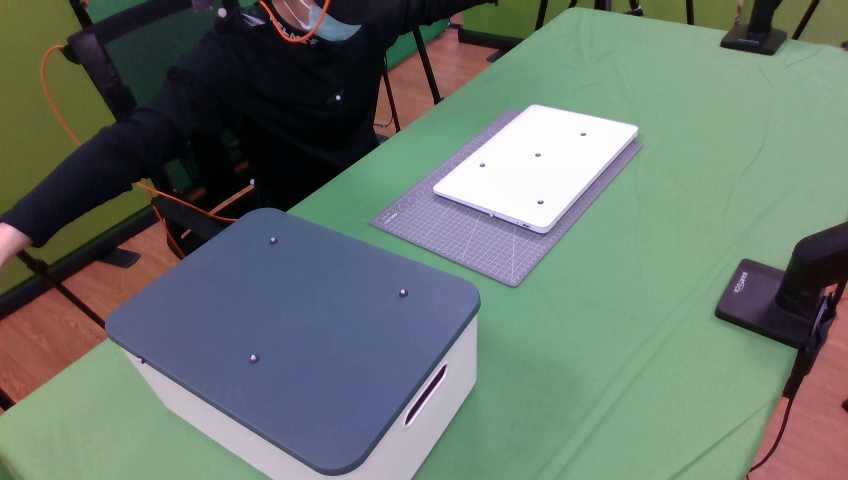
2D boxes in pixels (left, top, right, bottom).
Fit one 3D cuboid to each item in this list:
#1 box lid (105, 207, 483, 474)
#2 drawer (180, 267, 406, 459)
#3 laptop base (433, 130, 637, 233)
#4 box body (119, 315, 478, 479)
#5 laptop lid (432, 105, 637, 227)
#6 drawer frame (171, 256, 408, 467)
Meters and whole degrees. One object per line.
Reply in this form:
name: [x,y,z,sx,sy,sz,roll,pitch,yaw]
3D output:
box lid: [-0.149,0.079,0.677,0.369,0.015,0.264,20,46,28]
drawer: [-0.162,0.145,0.771,0.210,0.073,0.195,22,45,32]
laptop base: [0.210,-0.142,1.111,0.233,0.023,0.355,21,47,34]
box body: [-0.140,0.136,0.725,0.361,0.161,0.254,19,47,28]
laptop lid: [0.207,-0.152,1.104,0.239,0.013,0.358,23,49,34]
drawer frame: [-0.164,0.141,0.766,0.212,0.083,0.202,25,51,27]
